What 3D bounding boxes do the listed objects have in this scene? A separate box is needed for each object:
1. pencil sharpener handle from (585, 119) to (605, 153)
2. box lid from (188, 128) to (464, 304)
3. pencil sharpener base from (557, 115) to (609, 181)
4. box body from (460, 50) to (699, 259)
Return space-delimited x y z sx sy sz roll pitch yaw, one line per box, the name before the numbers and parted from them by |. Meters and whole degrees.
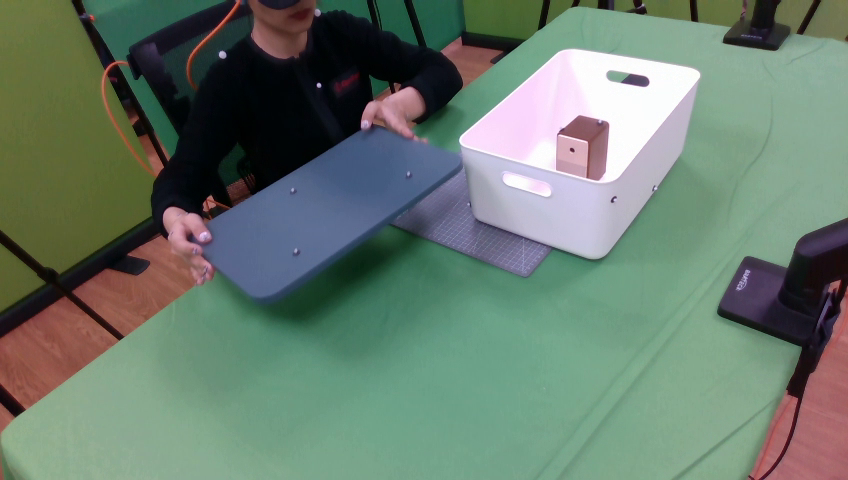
pencil sharpener handle | 0.301 -0.184 1.044 0.035 0.068 0.031 20 48 35
box lid | -0.144 -0.057 0.898 0.372 0.015 0.261 -37 40 -25
pencil sharpener base | 0.270 -0.147 1.024 0.061 0.107 0.077 22 49 33
box body | 0.261 -0.153 1.001 0.252 0.161 0.365 21 48 31
